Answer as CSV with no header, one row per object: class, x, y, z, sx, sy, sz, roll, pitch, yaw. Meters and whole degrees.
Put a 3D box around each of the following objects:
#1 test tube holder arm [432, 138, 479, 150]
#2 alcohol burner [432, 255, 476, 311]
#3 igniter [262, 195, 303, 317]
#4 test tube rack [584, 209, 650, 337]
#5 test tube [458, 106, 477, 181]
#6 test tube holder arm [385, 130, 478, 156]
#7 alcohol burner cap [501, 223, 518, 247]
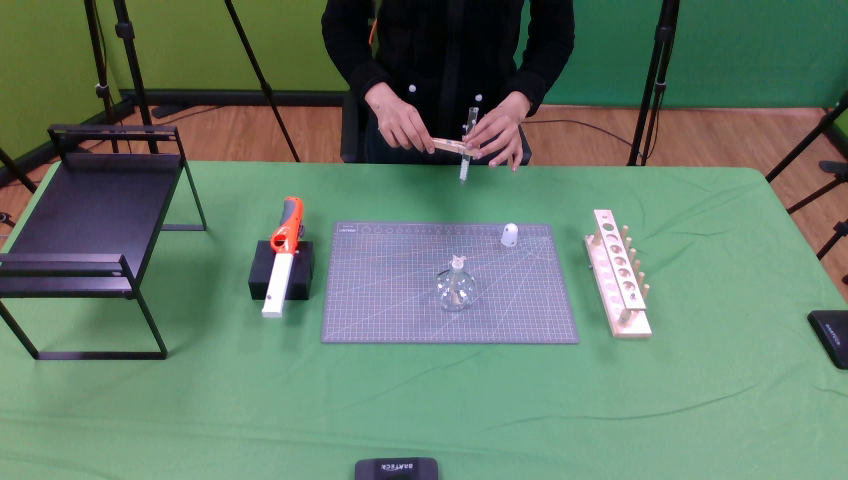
test tube holder arm,0.057,-0.174,1.112,0.088,0.015,0.010,8,33,5
alcohol burner,0.055,0.070,1.068,0.078,0.119,0.077,3,45,-3
igniter,-0.253,0.020,1.090,0.057,0.025,0.275,0,49,-1
test tube rack,0.365,0.056,1.129,0.067,0.085,0.240,1,46,-3
test tube,0.079,-0.172,1.101,0.017,0.151,0.017,4,39,-3
test tube holder arm,0.012,-0.179,1.114,0.178,0.015,0.013,13,33,11
alcohol burner cap,0.172,-0.013,1.206,0.034,0.048,0.033,1,46,-1
